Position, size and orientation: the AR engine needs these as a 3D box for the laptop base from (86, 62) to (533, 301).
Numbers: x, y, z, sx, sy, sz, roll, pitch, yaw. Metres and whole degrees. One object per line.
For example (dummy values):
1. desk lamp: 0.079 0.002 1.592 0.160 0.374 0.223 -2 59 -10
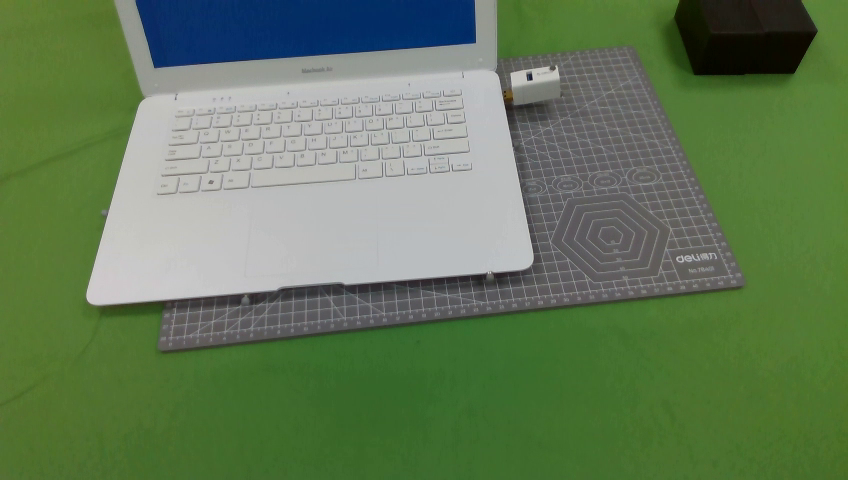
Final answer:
1. laptop base: -0.097 -0.060 0.537 0.354 0.023 0.233 -5 58 0

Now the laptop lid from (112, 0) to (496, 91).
1. laptop lid: -0.112 -0.258 0.544 0.357 0.243 0.013 -6 30 0

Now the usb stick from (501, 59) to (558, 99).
1. usb stick: 0.095 -0.150 0.570 0.059 0.027 0.021 -9 57 11
